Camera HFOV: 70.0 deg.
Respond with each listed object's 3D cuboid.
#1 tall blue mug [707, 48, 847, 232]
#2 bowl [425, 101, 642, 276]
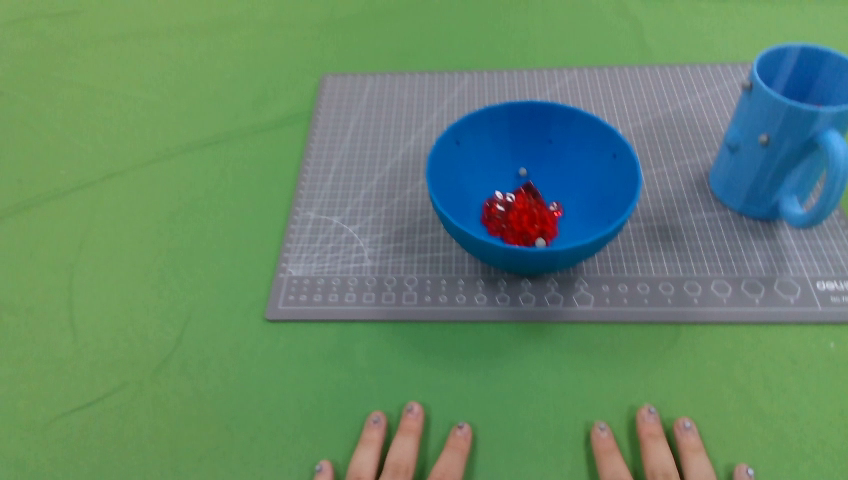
[{"bbox_3d":[0.279,-0.067,0.452,0.078,0.109,0.106,-26,54,-17],"label":"tall blue mug"},{"bbox_3d":[0.077,-0.026,0.453,0.151,0.077,0.150,-2,51,3],"label":"bowl"}]
